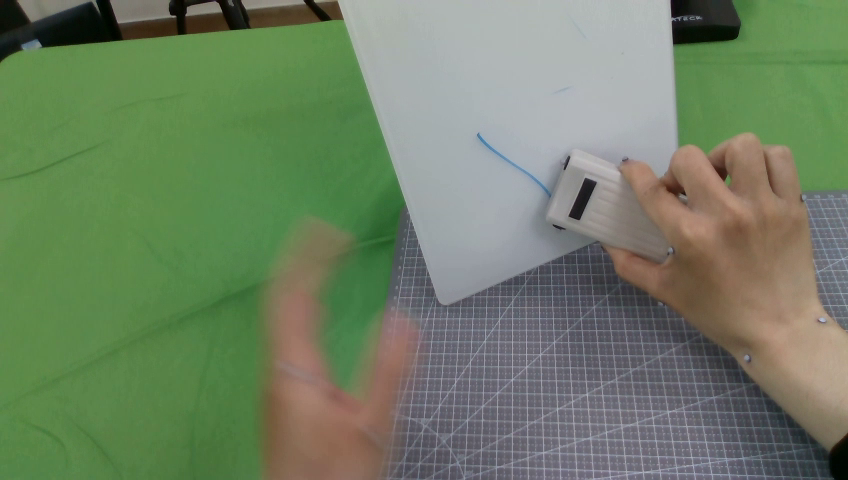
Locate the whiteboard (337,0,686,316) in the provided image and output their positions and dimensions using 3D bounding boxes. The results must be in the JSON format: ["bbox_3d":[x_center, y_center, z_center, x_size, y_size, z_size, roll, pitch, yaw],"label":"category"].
[{"bbox_3d":[0.054,-0.138,0.456,0.217,0.308,0.142,-22,30,-6],"label":"whiteboard"}]

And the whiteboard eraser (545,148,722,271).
[{"bbox_3d":[0.148,-0.024,0.436,0.112,0.056,0.041,21,27,5],"label":"whiteboard eraser"}]
